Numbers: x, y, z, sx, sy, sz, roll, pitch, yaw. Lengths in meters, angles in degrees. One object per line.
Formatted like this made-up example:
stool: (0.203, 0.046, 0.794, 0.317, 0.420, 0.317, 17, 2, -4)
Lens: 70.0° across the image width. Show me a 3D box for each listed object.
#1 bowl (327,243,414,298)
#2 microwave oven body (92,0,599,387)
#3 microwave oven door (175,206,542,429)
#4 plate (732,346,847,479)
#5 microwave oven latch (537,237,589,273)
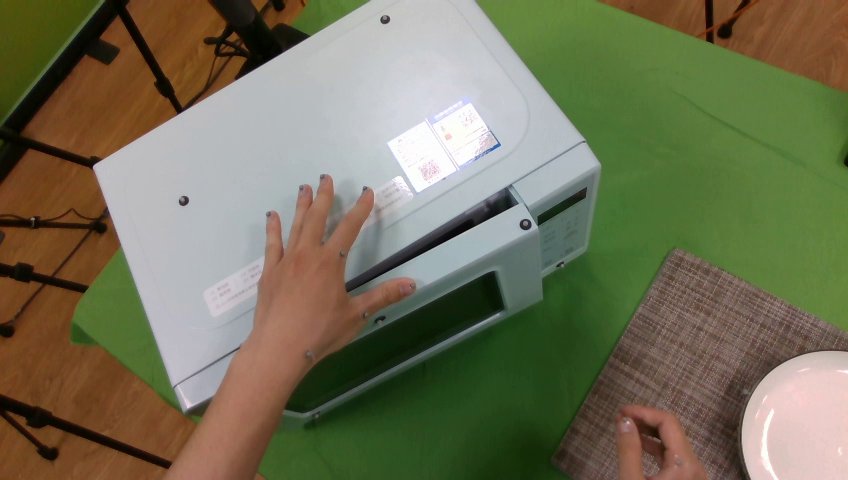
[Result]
bowl: (-0.077, 0.008, 0.728, 0.151, 0.077, 0.150, -4, 65, 10)
microwave oven body: (-0.079, -0.045, 0.708, 0.442, 0.262, 0.323, -31, 68, 0)
microwave oven door: (-0.041, 0.098, 0.644, 0.356, 0.246, 0.039, -28, 67, 0)
plate: (0.430, 0.217, 0.632, 0.207, 0.039, 0.206, -4, 70, 10)
microwave oven latch: (0.163, 0.012, 0.744, 0.079, 0.030, 0.030, -29, 68, 0)
